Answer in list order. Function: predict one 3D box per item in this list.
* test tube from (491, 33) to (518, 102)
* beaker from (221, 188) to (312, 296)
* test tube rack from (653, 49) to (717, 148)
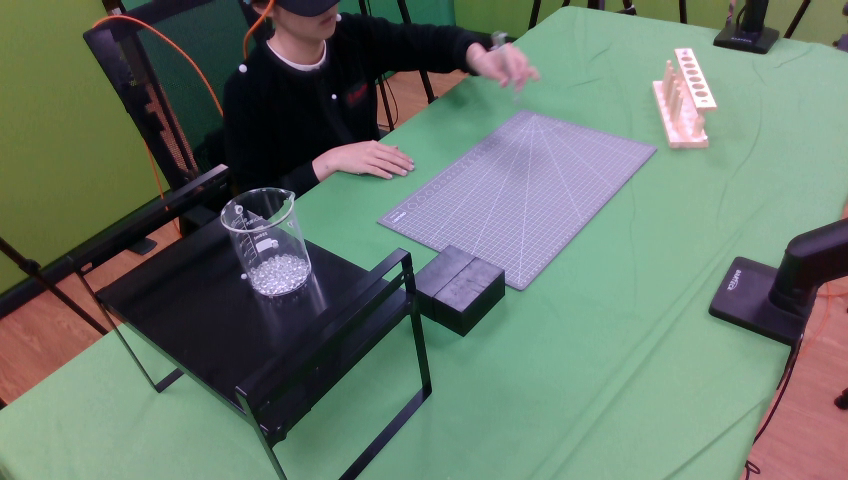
[{"bbox_3d":[0.144,-0.302,1.073,0.017,0.151,0.017,-12,52,16],"label":"test tube"},{"bbox_3d":[-0.165,0.003,0.659,0.073,0.101,0.084,28,51,34],"label":"beaker"},{"bbox_3d":[0.502,-0.281,1.177,0.066,0.085,0.241,1,41,10],"label":"test tube rack"}]
